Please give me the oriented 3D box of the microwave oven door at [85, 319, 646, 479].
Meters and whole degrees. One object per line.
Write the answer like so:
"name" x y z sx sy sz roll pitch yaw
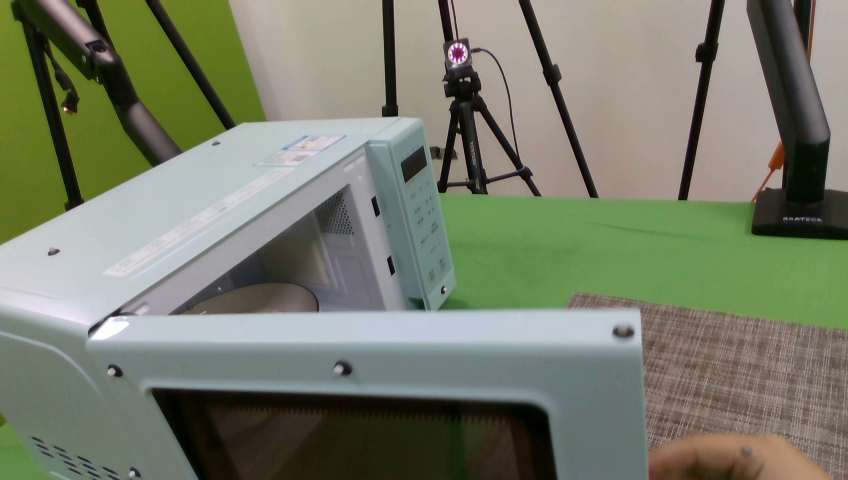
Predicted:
"microwave oven door" -0.035 0.157 0.409 0.354 0.246 0.039 -3 29 19

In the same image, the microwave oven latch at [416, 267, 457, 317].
"microwave oven latch" 0.015 0.066 0.796 0.030 0.030 0.079 6 33 31

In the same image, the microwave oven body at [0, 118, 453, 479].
"microwave oven body" -0.216 0.059 0.696 0.324 0.262 0.440 5 32 30

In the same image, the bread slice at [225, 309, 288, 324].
"bread slice" -0.218 0.125 0.693 0.104 0.019 0.131 11 38 38

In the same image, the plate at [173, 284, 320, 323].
"plate" -0.217 0.122 0.689 0.209 0.038 0.207 -11 27 6
